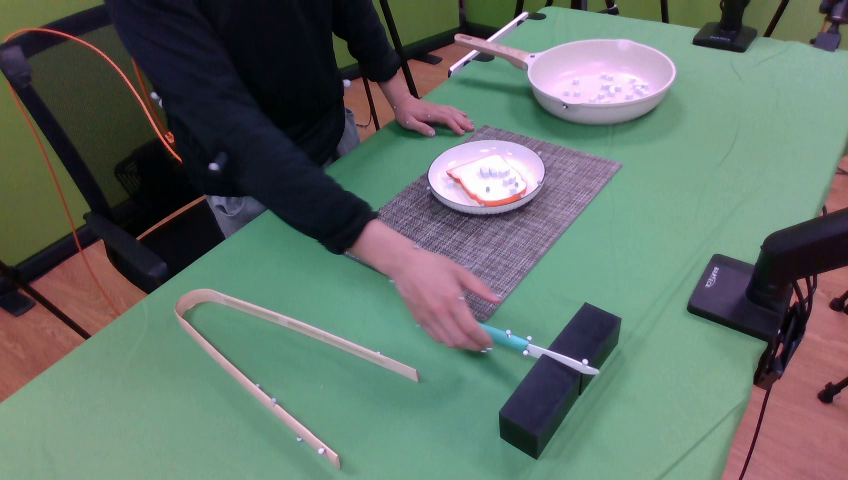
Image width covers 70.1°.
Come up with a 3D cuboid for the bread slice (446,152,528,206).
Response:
[{"bbox_3d":[0.118,-0.104,1.057,0.107,0.018,0.133,-24,42,-18],"label":"bread slice"}]

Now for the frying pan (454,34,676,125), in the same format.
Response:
[{"bbox_3d":[0.277,-0.370,1.295,0.485,0.103,0.307,26,50,22],"label":"frying pan"}]

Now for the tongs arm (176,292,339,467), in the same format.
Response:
[{"bbox_3d":[-0.225,0.168,0.794,0.381,0.026,0.051,25,50,34],"label":"tongs arm"}]

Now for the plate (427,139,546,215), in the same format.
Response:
[{"bbox_3d":[0.109,-0.107,1.058,0.207,0.039,0.206,-4,40,4],"label":"plate"}]

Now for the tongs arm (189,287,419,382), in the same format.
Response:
[{"bbox_3d":[-0.177,0.127,0.841,0.385,0.028,0.028,15,48,25],"label":"tongs arm"}]

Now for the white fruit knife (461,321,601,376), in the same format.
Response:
[{"bbox_3d":[0.126,0.133,0.752,0.205,0.027,0.016,12,45,42],"label":"white fruit knife"}]
